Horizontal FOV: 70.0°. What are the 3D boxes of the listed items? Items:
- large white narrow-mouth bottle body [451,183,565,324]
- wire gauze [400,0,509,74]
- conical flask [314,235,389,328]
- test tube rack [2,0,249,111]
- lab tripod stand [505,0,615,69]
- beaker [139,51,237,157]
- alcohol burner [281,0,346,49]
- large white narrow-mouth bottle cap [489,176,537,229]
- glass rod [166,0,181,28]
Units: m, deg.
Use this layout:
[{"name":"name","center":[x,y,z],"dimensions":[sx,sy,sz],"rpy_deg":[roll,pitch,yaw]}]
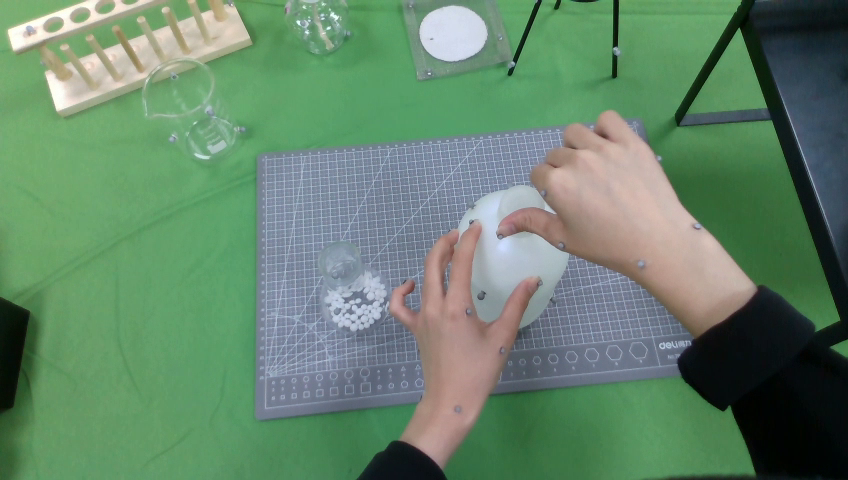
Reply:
[{"name":"large white narrow-mouth bottle body","center":[0.075,0.006,0.549],"dimensions":[0.102,0.196,0.101],"rpy_deg":[-1,68,3]},{"name":"wire gauze","center":[0.036,-0.271,0.762],"dimensions":[0.121,0.011,0.124],"rpy_deg":[-10,68,-5]},{"name":"conical flask","center":[-0.075,0.034,0.576],"dimensions":[0.075,0.123,0.075],"rpy_deg":[0,68,1]},{"name":"test tube rack","center":[-0.342,-0.245,0.714],"dimensions":[0.242,0.086,0.066],"rpy_deg":[-25,70,-9]},{"name":"lab tripod stand","center":[0.166,-0.267,0.692],"dimensions":[0.148,0.132,0.147],"rpy_deg":[1,67,-1]},{"name":"beaker","center":[-0.255,-0.142,0.664],"dimensions":[0.073,0.101,0.084],"rpy_deg":[39,74,16]},{"name":"alcohol burner","center":[-0.133,-0.285,0.713],"dimensions":[0.078,0.120,0.077],"rpy_deg":[0,66,0]},{"name":"large white narrow-mouth bottle cap","center":[0.069,-0.029,0.468],"dimensions":[0.038,0.024,0.037],"rpy_deg":[-1,68,3]},{"name":"glass rod","center":[-0.299,-0.307,0.667],"dimensions":[0.008,0.201,0.008],"rpy_deg":[2,65,-3]}]
